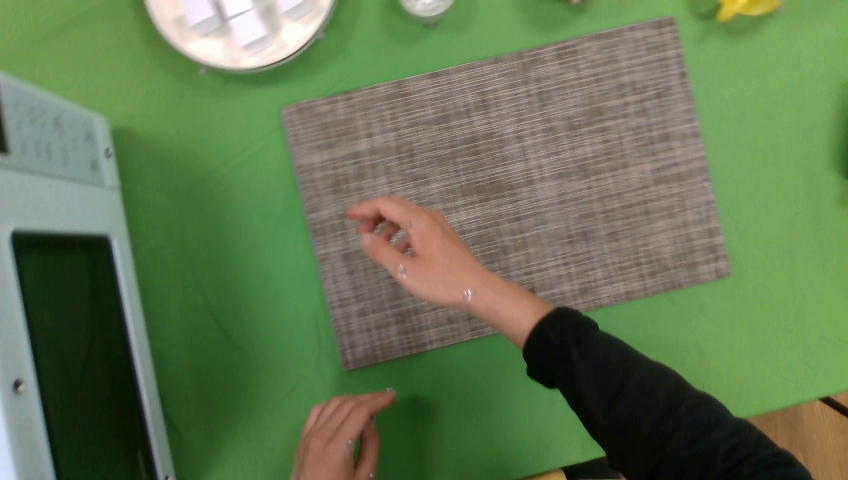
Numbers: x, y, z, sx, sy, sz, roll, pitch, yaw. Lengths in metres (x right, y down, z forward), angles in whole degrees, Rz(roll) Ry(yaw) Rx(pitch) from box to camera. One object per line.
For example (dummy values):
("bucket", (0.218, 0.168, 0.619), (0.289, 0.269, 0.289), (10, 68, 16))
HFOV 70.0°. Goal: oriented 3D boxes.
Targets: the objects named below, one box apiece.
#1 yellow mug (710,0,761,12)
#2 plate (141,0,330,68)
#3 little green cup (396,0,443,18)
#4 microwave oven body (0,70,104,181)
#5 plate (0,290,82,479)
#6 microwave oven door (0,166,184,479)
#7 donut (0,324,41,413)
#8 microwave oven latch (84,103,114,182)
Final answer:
("yellow mug", (0.353, -0.303, 0.652), (0.100, 0.064, 0.131), (34, 91, -2))
("plate", (-0.199, -0.286, 0.651), (0.208, 0.039, 0.207), (0, 91, -1))
("little green cup", (-0.005, -0.273, 0.657), (0.061, 0.038, 0.061), (0, 91, -1))
("microwave oven body", (-0.457, 0.103, 0.539), (0.326, 0.260, 0.441), (-11, 92, -2))
("plate", (-0.438, 0.146, 0.592), (0.209, 0.038, 0.209), (0, 91, -3))
("microwave oven door", (-0.306, 0.117, 0.538), (0.039, 0.243, 0.355), (-12, 91, -1))
("donut", (-0.424, 0.125, 0.585), (0.099, 0.048, 0.099), (-1, 112, -2))
("microwave oven latch", (-0.349, -0.100, 0.633), (0.030, 0.029, 0.079), (-8, 92, -2))
